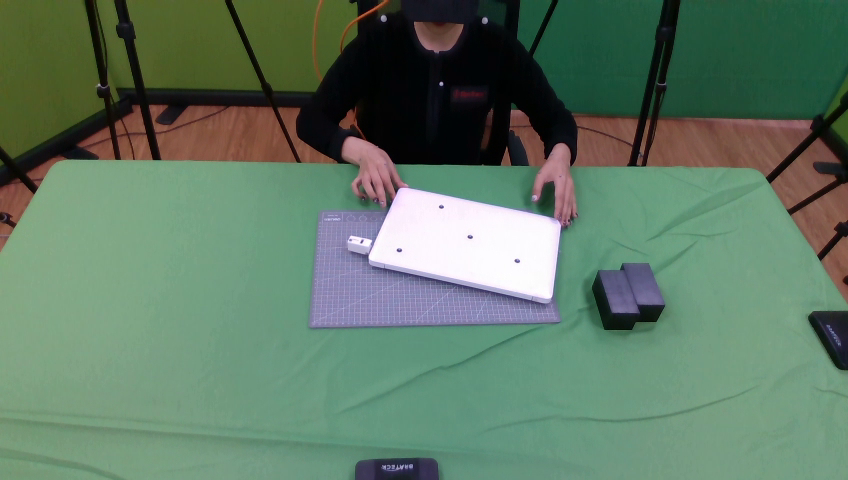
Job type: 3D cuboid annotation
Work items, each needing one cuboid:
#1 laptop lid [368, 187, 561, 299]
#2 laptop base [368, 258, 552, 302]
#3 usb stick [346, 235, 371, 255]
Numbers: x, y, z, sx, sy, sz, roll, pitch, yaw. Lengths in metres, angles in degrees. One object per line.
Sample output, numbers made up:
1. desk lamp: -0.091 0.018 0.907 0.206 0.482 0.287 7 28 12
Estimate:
1. laptop lid: 0.089 -0.004 1.197 0.356 0.013 0.240 13 44 8
2. laptop base: 0.088 0.006 1.204 0.354 0.023 0.234 12 42 7
3. usb stick: -0.118 0.012 1.164 0.059 0.027 0.021 15 45 7
